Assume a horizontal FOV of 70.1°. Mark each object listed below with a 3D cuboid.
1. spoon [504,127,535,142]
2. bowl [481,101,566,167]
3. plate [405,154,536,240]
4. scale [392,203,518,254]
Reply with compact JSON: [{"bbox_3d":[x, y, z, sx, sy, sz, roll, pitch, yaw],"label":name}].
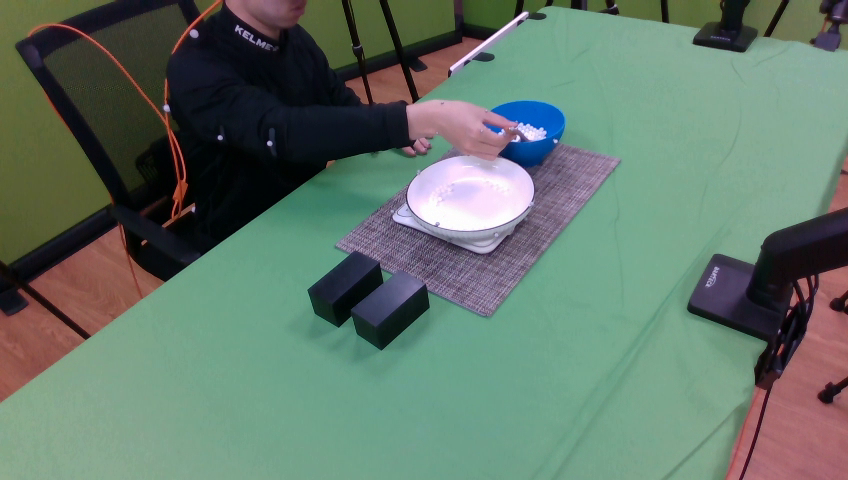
[{"bbox_3d":[0.163,-0.176,1.026,0.041,0.021,0.195,12,3,22],"label":"spoon"},{"bbox_3d":[0.182,-0.186,1.111,0.151,0.077,0.150,-4,40,4],"label":"bowl"},{"bbox_3d":[0.075,-0.067,0.973,0.209,0.038,0.208,-4,41,4],"label":"plate"},{"bbox_3d":[0.061,-0.051,1.006,0.199,0.032,0.149,22,48,30],"label":"scale"}]
